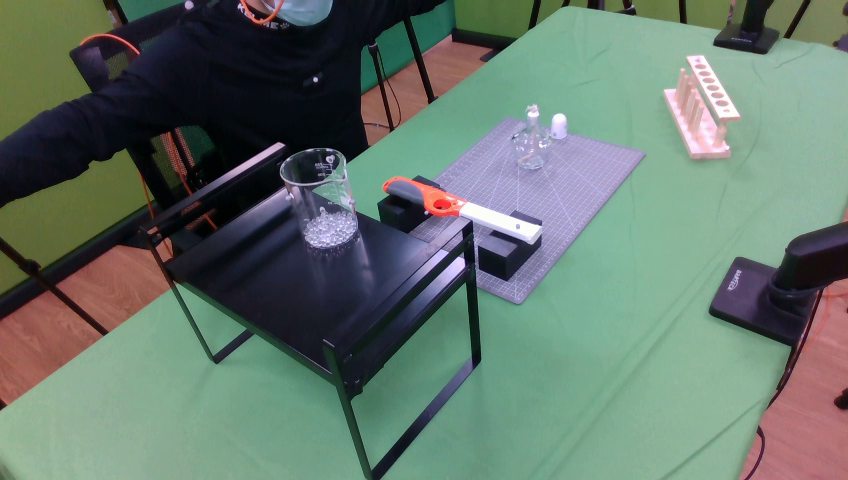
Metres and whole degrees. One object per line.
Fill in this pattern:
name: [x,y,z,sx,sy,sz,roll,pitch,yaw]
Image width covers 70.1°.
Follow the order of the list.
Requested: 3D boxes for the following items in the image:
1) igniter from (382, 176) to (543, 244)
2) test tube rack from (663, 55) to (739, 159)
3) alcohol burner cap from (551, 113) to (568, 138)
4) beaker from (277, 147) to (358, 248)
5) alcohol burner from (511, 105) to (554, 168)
igniter: [0.052,-0.052,0.941,0.274,0.025,0.057,22,47,27]
test tube rack: [0.518,-0.256,1.144,0.066,0.085,0.241,-1,41,8]
alcohol burner cap: [0.263,-0.223,1.172,0.034,0.048,0.033,-5,40,4]
beaker: [-0.117,-0.046,0.705,0.083,0.101,0.074,17,47,25]
alcohol burner: [0.196,-0.190,1.088,0.078,0.119,0.077,-3,42,3]
